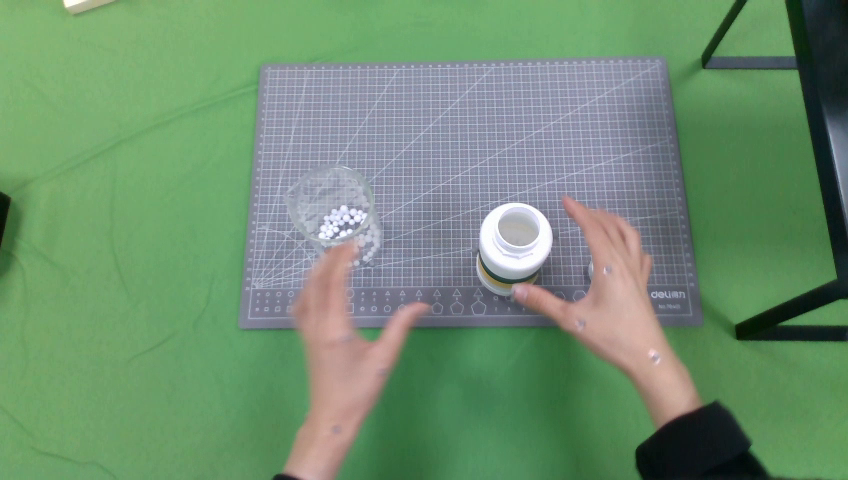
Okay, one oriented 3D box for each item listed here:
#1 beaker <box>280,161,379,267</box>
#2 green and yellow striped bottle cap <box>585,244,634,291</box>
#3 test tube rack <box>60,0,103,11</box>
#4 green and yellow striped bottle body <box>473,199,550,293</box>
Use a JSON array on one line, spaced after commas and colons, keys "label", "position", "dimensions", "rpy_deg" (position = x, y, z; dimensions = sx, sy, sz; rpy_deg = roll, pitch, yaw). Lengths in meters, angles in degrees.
[{"label": "beaker", "position": [-0.084, -0.020, 0.572], "dimensions": [0.084, 0.101, 0.073], "rpy_deg": [10, 72, 6]}, {"label": "green and yellow striped bottle cap", "position": [0.182, 0.027, 0.594], "dimensions": [0.045, 0.020, 0.045], "rpy_deg": [0, 70, 1]}, {"label": "test tube rack", "position": [-0.319, -0.353, 0.691], "dimensions": [0.242, 0.085, 0.066], "rpy_deg": [-21, 73, -5]}, {"label": "green and yellow striped bottle body", "position": [0.078, 0.004, 0.548], "dimensions": [0.063, 0.120, 0.063], "rpy_deg": [0, 72, 2]}]
